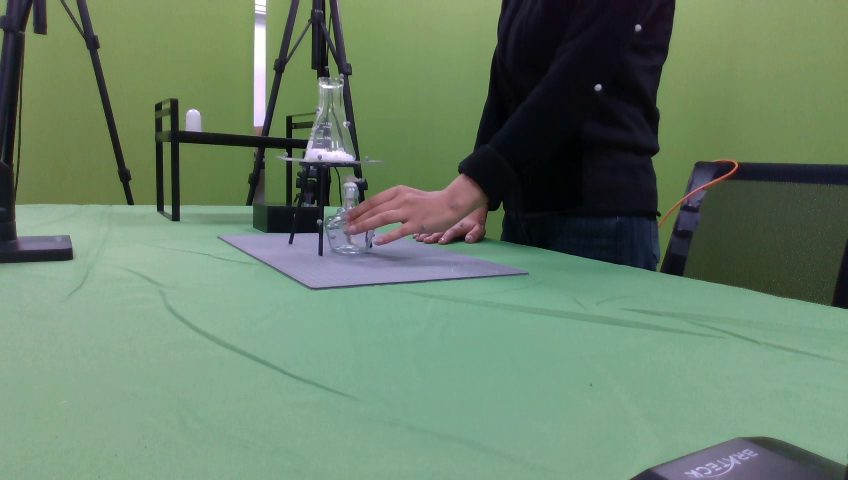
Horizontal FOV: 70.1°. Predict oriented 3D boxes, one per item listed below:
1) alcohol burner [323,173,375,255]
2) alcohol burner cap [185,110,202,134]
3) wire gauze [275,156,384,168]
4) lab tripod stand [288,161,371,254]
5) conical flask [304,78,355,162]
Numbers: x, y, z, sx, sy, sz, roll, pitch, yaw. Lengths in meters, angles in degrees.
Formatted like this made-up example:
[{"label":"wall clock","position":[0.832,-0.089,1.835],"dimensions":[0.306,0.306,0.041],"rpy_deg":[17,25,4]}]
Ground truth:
[{"label":"alcohol burner","position":[-0.111,-0.039,0.895],"dimensions":[0.078,0.119,0.078],"rpy_deg":[0,6,0]},{"label":"alcohol burner cap","position":[-0.470,-0.242,1.234],"dimensions":[0.034,0.048,0.034],"rpy_deg":[4,7,0]},{"label":"wire gauze","position":[-0.142,-0.116,0.900],"dimensions":[0.122,0.011,0.124],"rpy_deg":[-1,5,-37]},{"label":"lab tripod stand","position":[-0.148,-0.052,0.909],"dimensions":[0.148,0.131,0.148],"rpy_deg":[1,8,0]},{"label":"conical flask","position":[-0.139,-0.175,0.893],"dimensions":[0.075,0.122,0.075],"rpy_deg":[2,8,0]}]
